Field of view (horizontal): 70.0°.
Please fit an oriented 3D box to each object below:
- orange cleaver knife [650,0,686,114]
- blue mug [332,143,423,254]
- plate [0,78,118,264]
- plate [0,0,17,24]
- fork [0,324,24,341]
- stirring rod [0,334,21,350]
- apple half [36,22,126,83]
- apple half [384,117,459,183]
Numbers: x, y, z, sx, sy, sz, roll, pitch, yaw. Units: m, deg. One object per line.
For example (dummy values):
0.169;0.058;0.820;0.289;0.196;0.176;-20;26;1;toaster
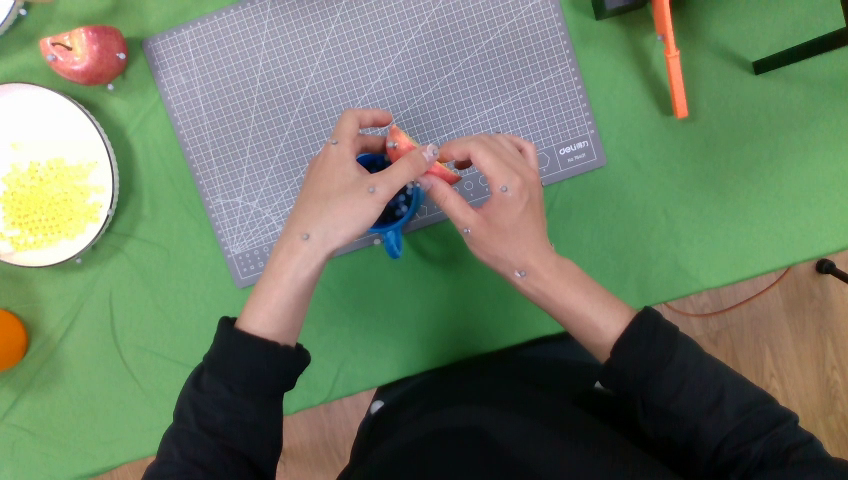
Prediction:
0.239;-0.232;0.613;0.012;0.076;0.213;-16;123;14;orange cleaver knife
-0.043;-0.043;0.641;0.082;0.105;0.117;-10;97;4;blue mug
-0.448;-0.077;0.692;0.209;0.038;0.209;0;99;3;plate
-0.532;-0.316;0.661;0.207;0.039;0.208;0;99;3;plate
-0.568;0.122;0.671;0.208;0.018;0.028;-8;99;-40;fork
-0.554;0.138;0.675;0.177;0.006;0.014;-16;86;-36;stirring rod
-0.362;-0.198;0.653;0.081;0.074;0.053;-15;101;1;apple half
-0.007;-0.070;0.527;0.081;0.081;0.033;41;100;-3;apple half
